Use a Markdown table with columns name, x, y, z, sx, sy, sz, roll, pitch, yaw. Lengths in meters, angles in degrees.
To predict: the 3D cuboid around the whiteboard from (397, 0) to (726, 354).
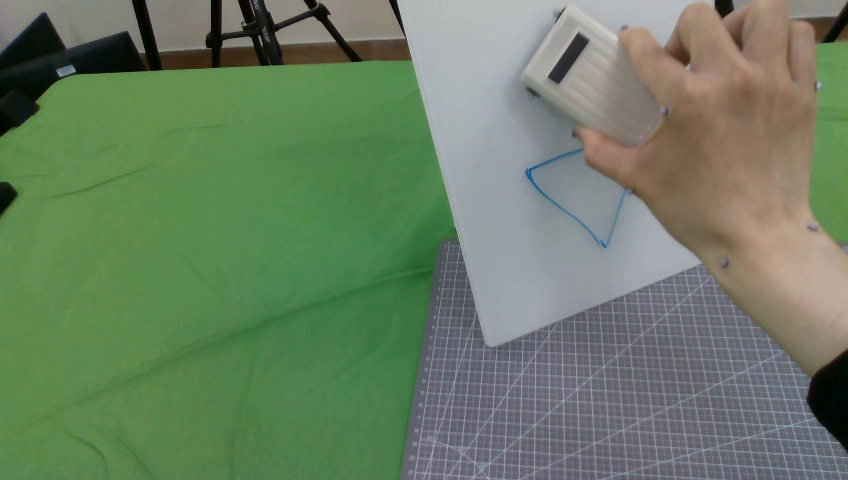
| name | x | y | z | sx | sy | sz | roll | pitch | yaw |
| --- | --- | --- | --- | --- | --- | --- | --- | --- | --- |
| whiteboard | 0.095 | -0.105 | 0.480 | 0.217 | 0.308 | 0.142 | -20 | 27 | -8 |

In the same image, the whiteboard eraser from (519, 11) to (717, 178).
| name | x | y | z | sx | sy | sz | roll | pitch | yaw |
| --- | --- | --- | --- | --- | --- | --- | --- | --- | --- |
| whiteboard eraser | 0.120 | -0.091 | 0.382 | 0.112 | 0.056 | 0.041 | 34 | 22 | 1 |
